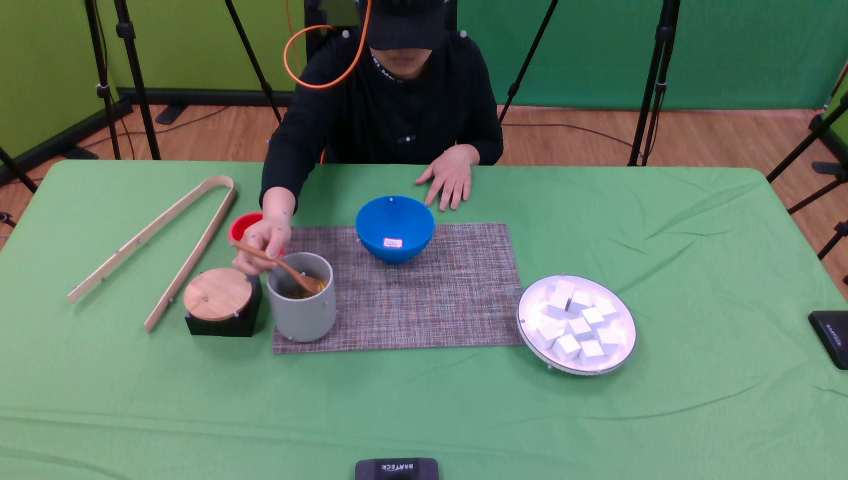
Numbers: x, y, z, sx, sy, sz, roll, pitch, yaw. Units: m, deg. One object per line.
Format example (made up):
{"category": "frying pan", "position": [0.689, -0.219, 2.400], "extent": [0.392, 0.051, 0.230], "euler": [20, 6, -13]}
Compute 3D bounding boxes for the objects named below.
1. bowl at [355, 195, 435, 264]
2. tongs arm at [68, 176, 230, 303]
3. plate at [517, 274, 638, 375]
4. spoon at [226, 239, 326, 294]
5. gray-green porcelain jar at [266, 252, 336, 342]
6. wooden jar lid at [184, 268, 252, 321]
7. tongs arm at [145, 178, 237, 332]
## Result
{"category": "bowl", "position": [-0.056, -0.008, 1.158], "extent": [0.151, 0.077, 0.150], "euler": [2, 46, -2]}
{"category": "tongs arm", "position": [-0.510, -0.010, 1.162], "extent": [0.050, 0.026, 0.383], "euler": [20, 47, 14]}
{"category": "plate", "position": [0.264, 0.149, 1.060], "extent": [0.209, 0.038, 0.208], "euler": [3, 46, -3]}
{"category": "spoon", "position": [-0.227, 0.041, 0.955], "extent": [0.021, 0.195, 0.041], "euler": [-40, 40, 15]}
{"category": "gray-green porcelain jar", "position": [-0.202, 0.100, 1.009], "extent": [0.106, 0.127, 0.105], "euler": [2, 46, -2]}
{"category": "wooden jar lid", "position": [-0.343, 0.093, 1.015], "extent": [0.108, 0.021, 0.107], "euler": [3, 46, -3]}
{"category": "tongs arm", "position": [-0.432, 0.014, 1.149], "extent": [0.028, 0.028, 0.385], "euler": [8, 46, 7]}
